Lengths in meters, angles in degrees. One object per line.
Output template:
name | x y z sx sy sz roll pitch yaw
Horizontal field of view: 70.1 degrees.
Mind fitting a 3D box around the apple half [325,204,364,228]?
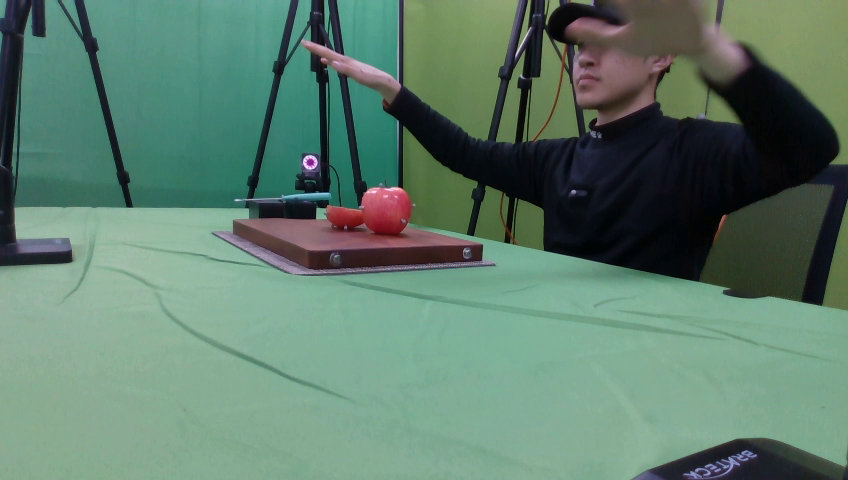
apple half | -0.128 -0.035 0.990 0.081 0.033 0.081 10 -5 1

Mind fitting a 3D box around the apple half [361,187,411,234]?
apple half | -0.052 -0.045 0.937 0.081 0.074 0.053 2 10 -39

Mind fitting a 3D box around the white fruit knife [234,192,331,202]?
white fruit knife | -0.295 -0.088 1.281 0.208 0.016 0.027 -6 -2 -26
